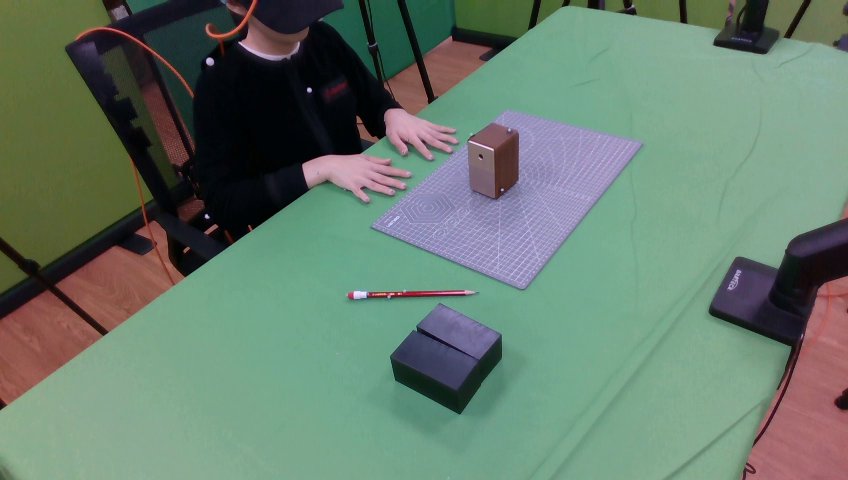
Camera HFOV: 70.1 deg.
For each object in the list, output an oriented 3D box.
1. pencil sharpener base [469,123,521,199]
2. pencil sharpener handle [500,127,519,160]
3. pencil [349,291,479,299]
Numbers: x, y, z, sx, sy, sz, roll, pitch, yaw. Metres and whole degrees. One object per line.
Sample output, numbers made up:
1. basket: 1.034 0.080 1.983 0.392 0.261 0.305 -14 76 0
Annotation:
1. pencil sharpener base: 0.126 -0.138 1.049 0.061 0.107 0.077 26 50 34
2. pencil sharpener handle: 0.157 -0.175 1.070 0.035 0.068 0.031 31 53 29
3. pencil: -0.015 0.081 0.894 0.194 0.012 0.012 -1 41 6
